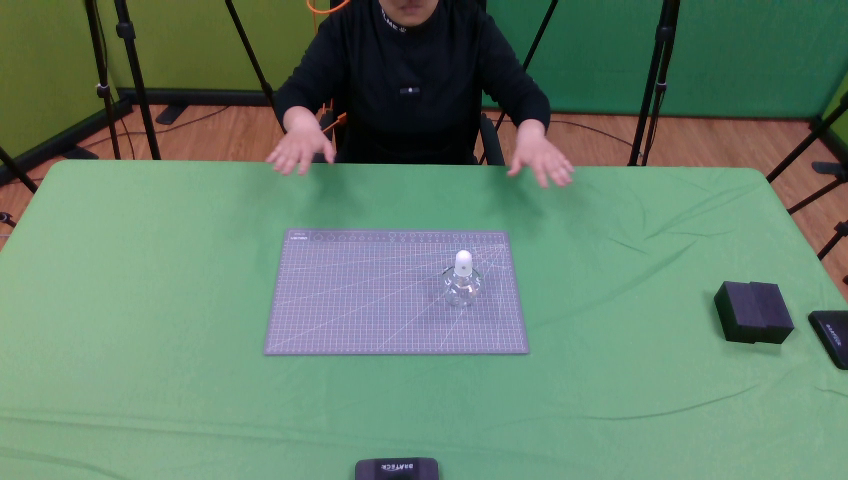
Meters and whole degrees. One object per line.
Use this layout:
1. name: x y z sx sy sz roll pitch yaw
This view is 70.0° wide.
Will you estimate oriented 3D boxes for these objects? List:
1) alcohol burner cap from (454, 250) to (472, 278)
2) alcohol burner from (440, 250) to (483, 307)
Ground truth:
1. alcohol burner cap: 0.068 0.039 1.049 0.034 0.048 0.033 -2 45 2
2. alcohol burner: 0.068 0.064 1.076 0.078 0.120 0.077 1 45 -1
